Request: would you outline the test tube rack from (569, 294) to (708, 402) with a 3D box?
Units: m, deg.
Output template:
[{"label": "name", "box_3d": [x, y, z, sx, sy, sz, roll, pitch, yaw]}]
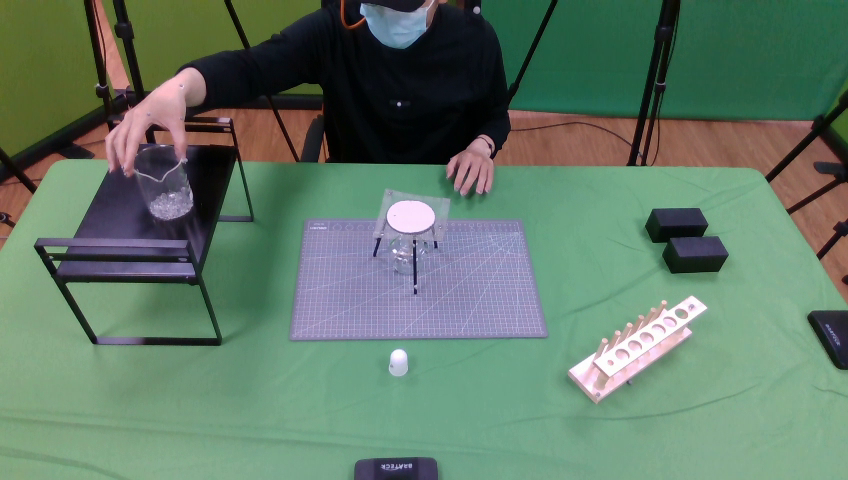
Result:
[{"label": "test tube rack", "box_3d": [0.360, 0.167, 1.014, 0.242, 0.085, 0.066, -25, 53, -25]}]

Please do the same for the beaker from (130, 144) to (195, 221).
[{"label": "beaker", "box_3d": [-0.402, -0.085, 0.944, 0.074, 0.101, 0.083, -15, 49, -17]}]

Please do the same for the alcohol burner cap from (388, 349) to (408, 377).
[{"label": "alcohol burner cap", "box_3d": [-0.042, 0.197, 0.989, 0.034, 0.048, 0.033, 2, 46, -2]}]

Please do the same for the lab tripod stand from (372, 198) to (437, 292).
[{"label": "lab tripod stand", "box_3d": [-0.025, -0.002, 1.112, 0.148, 0.132, 0.147, 2, 44, -2]}]

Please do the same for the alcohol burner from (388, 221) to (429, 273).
[{"label": "alcohol burner", "box_3d": [-0.028, 0.006, 1.118, 0.078, 0.119, 0.077, 2, 48, -2]}]

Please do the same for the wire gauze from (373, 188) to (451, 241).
[{"label": "wire gauze", "box_3d": [-0.019, -0.045, 1.060, 0.121, 0.011, 0.124, 8, 44, 3]}]
